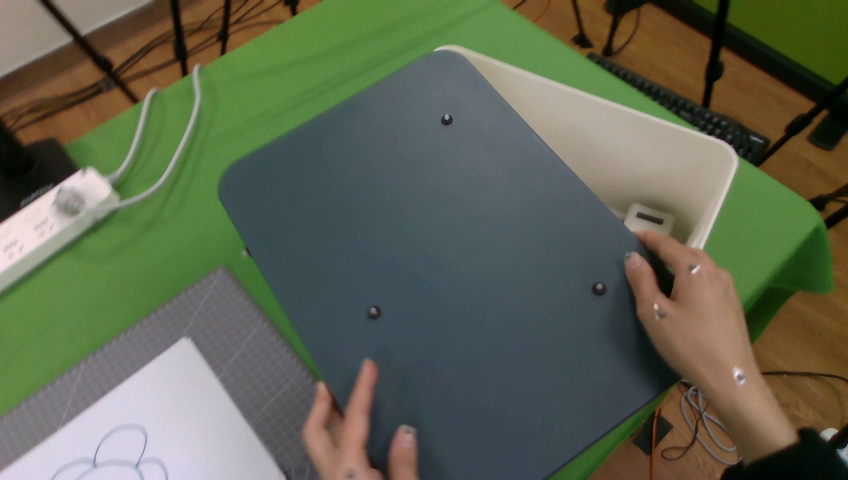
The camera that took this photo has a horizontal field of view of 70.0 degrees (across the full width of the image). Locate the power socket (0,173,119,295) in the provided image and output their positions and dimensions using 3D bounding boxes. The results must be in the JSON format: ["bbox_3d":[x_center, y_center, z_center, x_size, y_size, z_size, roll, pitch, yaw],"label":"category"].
[{"bbox_3d":[-0.501,-0.004,0.781,0.071,0.033,0.226,38,66,23],"label":"power socket"}]

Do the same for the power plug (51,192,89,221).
[{"bbox_3d":[-0.446,-0.032,0.769,0.035,0.053,0.072,-33,67,-17],"label":"power plug"}]

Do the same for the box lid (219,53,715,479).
[{"bbox_3d":[0.013,0.007,0.492,0.263,0.015,0.368,-33,64,-10],"label":"box lid"}]

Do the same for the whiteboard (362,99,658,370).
[{"bbox_3d":[0.102,-0.031,0.697,0.304,0.145,0.216,24,60,19],"label":"whiteboard"}]

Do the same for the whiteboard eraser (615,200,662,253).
[{"bbox_3d":[0.243,0.008,0.707,0.055,0.042,0.112,11,59,19],"label":"whiteboard eraser"}]

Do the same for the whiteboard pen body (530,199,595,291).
[{"bbox_3d":[0.159,0.006,0.699,0.017,0.017,0.140,30,66,21],"label":"whiteboard pen body"}]

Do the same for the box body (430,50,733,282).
[{"bbox_3d":[0.107,-0.029,0.682,0.362,0.162,0.253,24,62,18],"label":"box body"}]

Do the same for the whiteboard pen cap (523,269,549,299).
[{"bbox_3d":[0.126,0.050,0.677,0.018,0.018,0.033,28,67,20],"label":"whiteboard pen cap"}]
